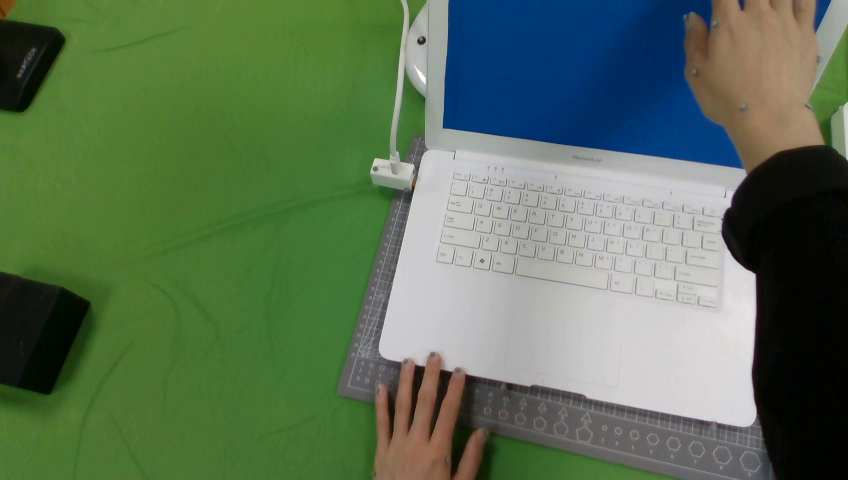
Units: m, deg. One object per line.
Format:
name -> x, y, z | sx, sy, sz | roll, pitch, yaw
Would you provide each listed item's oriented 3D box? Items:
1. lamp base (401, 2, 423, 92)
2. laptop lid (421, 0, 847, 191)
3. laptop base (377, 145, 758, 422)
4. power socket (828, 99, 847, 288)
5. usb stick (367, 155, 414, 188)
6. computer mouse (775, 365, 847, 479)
lamp base -> 0.042, -0.263, 0.645 | 0.161, 0.181, 0.177 | -26, 66, -7
laptop lid -> 0.171, -0.158, 0.565 | 0.356, 0.244, 0.013 | 8, 46, 8
laptop base -> 0.146, 0.032, 0.609 | 0.354, 0.023, 0.234 | 9, 73, 7
power socket -> 0.456, -0.048, 0.613 | 0.072, 0.033, 0.225 | 9, 69, 6
usb stick -> -0.029, -0.072, 0.647 | 0.059, 0.027, 0.021 | 13, 65, 6
computer mouse -> 0.348, 0.167, 0.530 | 0.062, 0.041, 0.116 | 14, 66, 11
